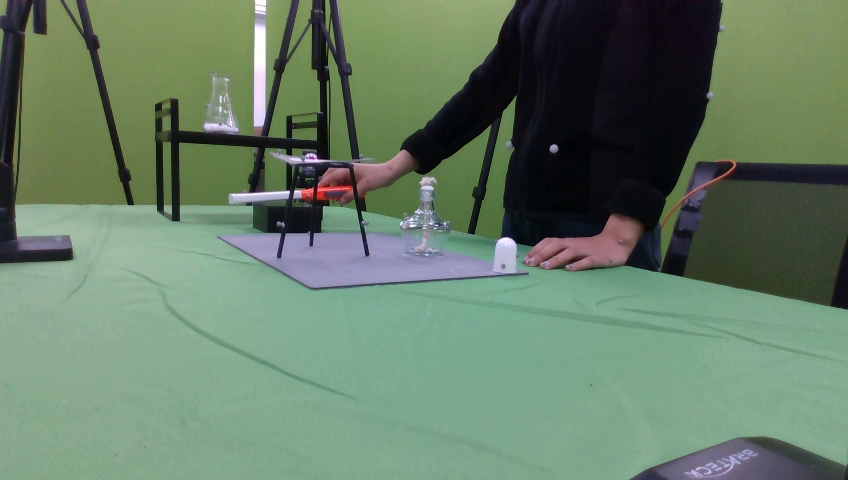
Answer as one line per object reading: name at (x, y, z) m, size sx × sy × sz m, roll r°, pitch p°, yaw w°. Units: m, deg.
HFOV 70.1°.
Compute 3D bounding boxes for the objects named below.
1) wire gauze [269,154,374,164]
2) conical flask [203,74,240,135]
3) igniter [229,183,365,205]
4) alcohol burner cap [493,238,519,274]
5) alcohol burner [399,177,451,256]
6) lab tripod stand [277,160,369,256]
wire gauze at (-0.146, -0.114, 0.860) m, size 0.122 × 0.011 × 0.124 m, roll -2°, pitch 9°, yaw -28°
conical flask at (-0.425, -0.284, 1.271) m, size 0.075 × 0.122 × 0.075 m, roll 3°, pitch 7°, yaw 0°
igniter at (-0.234, -0.089, 1.165) m, size 0.278 × 0.025 × 0.057 m, roll -8°, pitch 12°, yaw -33°
alcohol burner cap at (0.107, 0.021, 0.785) m, size 0.034 × 0.048 × 0.034 m, roll 0°, pitch 8°, yaw 0°
alcohol burner at (0.003, -0.035, 0.908) m, size 0.078 × 0.119 × 0.078 m, roll 4°, pitch 8°, yaw 0°
lab tripod stand at (-0.150, -0.046, 0.861) m, size 0.148 × 0.131 × 0.148 m, roll 3°, pitch 9°, yaw 0°
